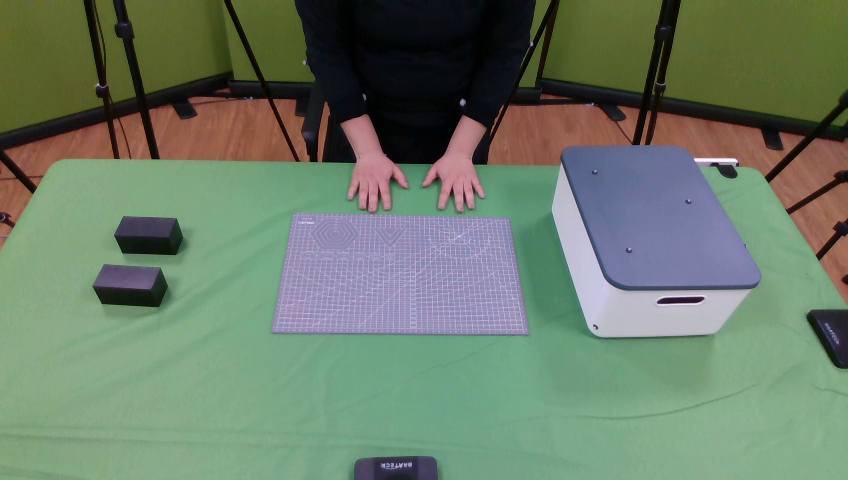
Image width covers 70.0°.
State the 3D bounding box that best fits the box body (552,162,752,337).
[{"bbox_3d":[0.401,-0.001,1.131,0.254,0.161,0.361,-1,46,-5],"label":"box body"}]

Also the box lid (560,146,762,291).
[{"bbox_3d":[0.404,-0.052,1.076,0.263,0.015,0.369,-1,45,-5],"label":"box lid"}]
